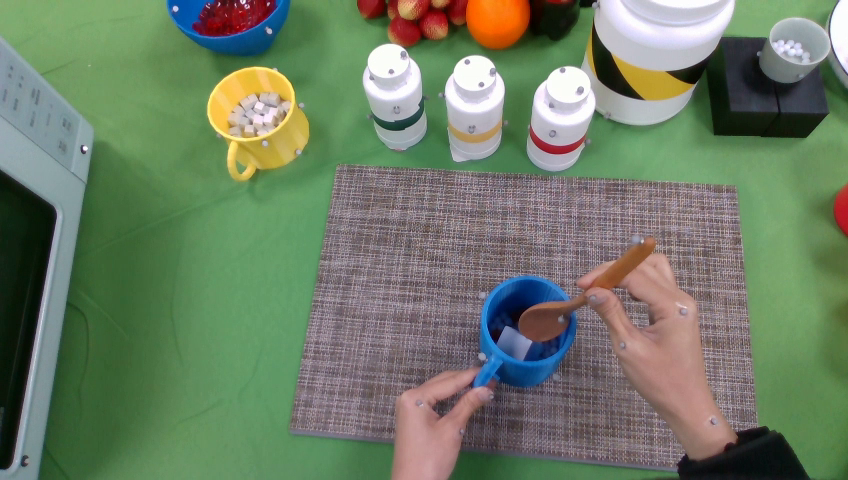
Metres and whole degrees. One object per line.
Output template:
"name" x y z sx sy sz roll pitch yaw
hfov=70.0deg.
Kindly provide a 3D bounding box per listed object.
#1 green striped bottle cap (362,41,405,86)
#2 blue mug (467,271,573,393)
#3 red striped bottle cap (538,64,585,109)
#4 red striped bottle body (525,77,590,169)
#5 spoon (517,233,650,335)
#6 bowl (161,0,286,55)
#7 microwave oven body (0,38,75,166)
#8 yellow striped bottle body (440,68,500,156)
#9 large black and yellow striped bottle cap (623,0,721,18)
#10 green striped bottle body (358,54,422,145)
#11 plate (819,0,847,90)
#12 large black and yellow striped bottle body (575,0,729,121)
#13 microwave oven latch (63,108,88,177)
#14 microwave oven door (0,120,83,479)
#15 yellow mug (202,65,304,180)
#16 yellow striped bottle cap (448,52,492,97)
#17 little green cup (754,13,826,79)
"green striped bottle cap" -0.042 -0.183 0.625 0.044 0.020 0.044 -1 68 2
"blue mug" 0.080 0.097 0.566 0.082 0.106 0.116 39 76 18
"red striped bottle cap" 0.137 -0.153 0.600 0.044 0.018 0.044 0 67 0
"red striped bottle body" 0.142 -0.132 0.648 0.063 0.120 0.062 -2 66 6
"spoon" 0.121 0.040 0.472 0.042 0.194 0.021 22 64 -5
"bowl" -0.239 -0.288 0.760 0.151 0.077 0.150 -1 68 3
"microwave oven body" -0.556 0.028 0.555 0.326 0.262 0.438 -5 69 2
"yellow striped bottle body" 0.051 -0.148 0.661 0.063 0.121 0.062 -2 67 4
"large black and yellow striped bottle cap" 0.232 -0.258 0.567 0.115 0.019 0.114 -2 67 4
"green striped bottle body" -0.037 -0.163 0.673 0.063 0.120 0.062 -1 68 4
"plate" 0.561 -0.225 0.699 0.209 0.038 0.207 -1 69 4
"large black and yellow striped bottle body" 0.239 -0.228 0.645 0.131 0.185 0.130 -1 68 4
"microwave oven latch" -0.414 -0.112 0.704 0.030 0.030 0.078 -4 69 2
"microwave oven door" -0.408 0.052 0.529 0.039 0.245 0.353 -5 68 3
"yellow mug" -0.201 -0.130 0.700 0.100 0.064 0.130 13 71 8
"yellow striped bottle cap" 0.047 -0.168 0.613 0.044 0.019 0.044 -1 70 3
"little green cup" 0.388 -0.206 0.649 0.061 0.039 0.061 -1 66 2
